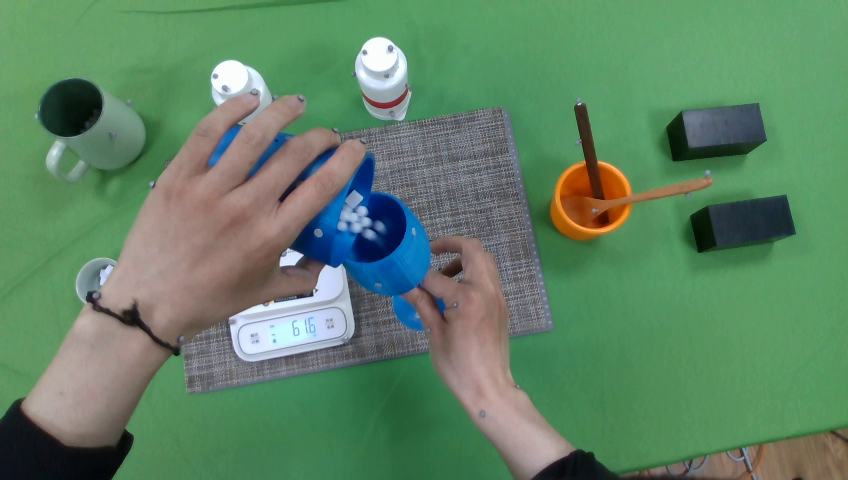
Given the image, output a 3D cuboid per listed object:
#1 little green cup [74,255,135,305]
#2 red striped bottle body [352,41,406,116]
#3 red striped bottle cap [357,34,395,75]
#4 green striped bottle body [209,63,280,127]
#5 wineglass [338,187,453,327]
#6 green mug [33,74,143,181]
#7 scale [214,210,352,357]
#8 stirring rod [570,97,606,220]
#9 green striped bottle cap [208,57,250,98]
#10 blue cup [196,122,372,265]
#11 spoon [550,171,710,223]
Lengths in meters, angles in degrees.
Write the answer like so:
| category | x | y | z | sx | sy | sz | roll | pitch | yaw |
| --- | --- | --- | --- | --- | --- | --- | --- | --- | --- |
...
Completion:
| category | x | y | z | sx | sy | sz | roll | pitch | yaw |
| --- | --- | --- | --- | --- | --- | --- | --- | --- | --- |
| little green cup | -0.391 | 0.051 | 0.748 | 0.061 | 0.039 | 0.061 | 0 | 79 | -1 |
| red striped bottle body | -0.055 | -0.206 | 0.756 | 0.063 | 0.120 | 0.063 | 0 | 79 | 0 |
| red striped bottle cap | -0.056 | -0.216 | 0.703 | 0.044 | 0.018 | 0.044 | 0 | 76 | 1 |
| green striped bottle body | -0.223 | -0.175 | 0.749 | 0.063 | 0.119 | 0.063 | 0 | 79 | 0 |
| wineglass | -0.023 | 0.022 | 0.527 | 0.073 | 0.174 | 0.073 | -5 | 66 | 12 |
| green mug | -0.420 | -0.131 | 0.749 | 0.092 | 0.105 | 0.125 | 25 | 80 | 4 |
| scale | -0.176 | 0.035 | 0.751 | 0.149 | 0.031 | 0.200 | -11 | 80 | -2 |
| stirring rod | 0.196 | -0.091 | 0.718 | 0.014 | 0.178 | 0.006 | 1 | 44 | 30 |
| green striped bottle cap | -0.223 | -0.187 | 0.694 | 0.044 | 0.020 | 0.044 | 0 | 79 | 1 |
| blue cup | -0.098 | -0.039 | 0.423 | 0.100 | 0.093 | 0.092 | 19 | 80 | 4 |
| spoon | 0.235 | -0.052 | 0.713 | 0.022 | 0.193 | 0.041 | -7 | 86 | -45 |
